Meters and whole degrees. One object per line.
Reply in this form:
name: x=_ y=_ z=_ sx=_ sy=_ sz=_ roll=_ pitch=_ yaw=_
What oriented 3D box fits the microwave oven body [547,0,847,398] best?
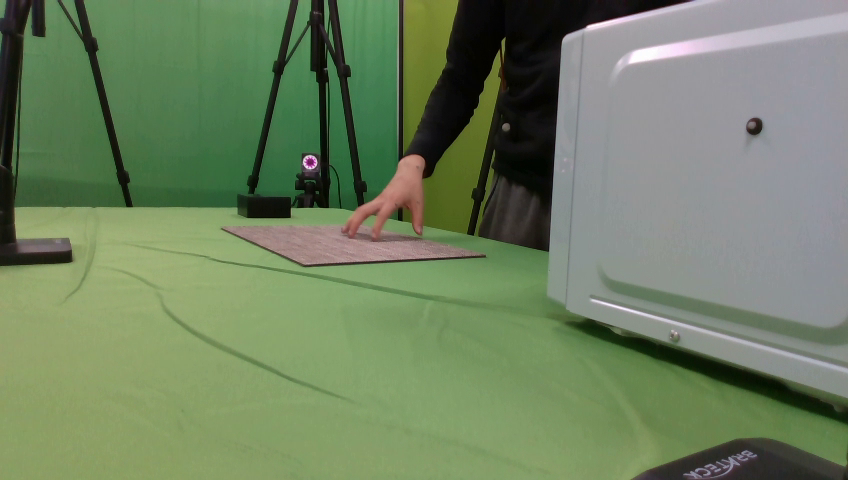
microwave oven body: x=0.378 y=-0.045 z=0.509 sx=0.444 sy=0.260 sz=0.324 roll=-2 pitch=8 yaw=-31

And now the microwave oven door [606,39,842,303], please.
microwave oven door: x=0.341 y=-0.070 z=0.654 sx=0.358 sy=0.243 sz=0.039 roll=-3 pitch=9 yaw=-31

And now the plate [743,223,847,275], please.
plate: x=0.407 y=0.008 z=0.553 sx=0.209 sy=0.038 sz=0.209 roll=1 pitch=5 yaw=0

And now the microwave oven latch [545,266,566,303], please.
microwave oven latch: x=0.148 y=0.038 z=0.555 sx=0.079 sy=0.029 sz=0.030 roll=-2 pitch=7 yaw=-29
